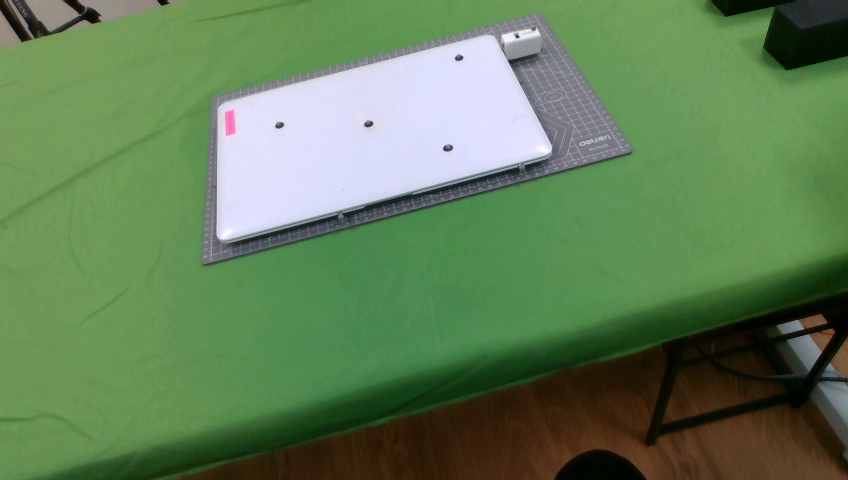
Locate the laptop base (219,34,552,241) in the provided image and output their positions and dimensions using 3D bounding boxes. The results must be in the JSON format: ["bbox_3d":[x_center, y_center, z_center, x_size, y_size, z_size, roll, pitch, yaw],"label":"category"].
[{"bbox_3d":[-0.059,-0.124,0.688,0.354,0.023,0.233,-15,52,-1],"label":"laptop base"}]

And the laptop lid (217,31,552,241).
[{"bbox_3d":[-0.061,-0.130,0.678,0.357,0.013,0.239,-14,51,0],"label":"laptop lid"}]

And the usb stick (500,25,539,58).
[{"bbox_3d":[0.109,-0.239,0.734,0.059,0.027,0.021,-16,48,2],"label":"usb stick"}]
